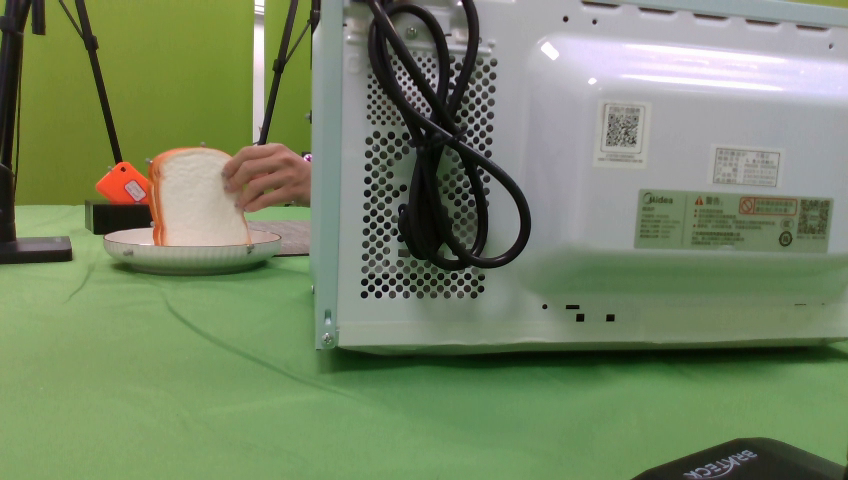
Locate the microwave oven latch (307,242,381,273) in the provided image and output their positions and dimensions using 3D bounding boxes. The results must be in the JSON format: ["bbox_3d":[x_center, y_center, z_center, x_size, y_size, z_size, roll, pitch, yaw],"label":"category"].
[{"bbox_3d":[-0.086,0.019,0.656,0.079,0.029,0.030,2,7,-10],"label":"microwave oven latch"}]

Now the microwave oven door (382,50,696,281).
[{"bbox_3d":[0.135,-0.077,0.685,0.357,0.243,0.039,1,8,-12],"label":"microwave oven door"}]

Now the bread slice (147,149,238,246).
[{"bbox_3d":[-0.299,-0.050,0.786,0.107,0.134,0.018,-9,10,-37],"label":"bread slice"}]

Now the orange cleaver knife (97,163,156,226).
[{"bbox_3d":[-0.472,-0.062,1.087,0.212,0.077,0.012,33,-14,-36],"label":"orange cleaver knife"}]

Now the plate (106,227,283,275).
[{"bbox_3d":[-0.288,0.013,0.772,0.208,0.039,0.207,2,7,0],"label":"plate"}]

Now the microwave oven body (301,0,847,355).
[{"bbox_3d":[0.120,-0.053,0.535,0.443,0.260,0.325,2,7,-11],"label":"microwave oven body"}]
